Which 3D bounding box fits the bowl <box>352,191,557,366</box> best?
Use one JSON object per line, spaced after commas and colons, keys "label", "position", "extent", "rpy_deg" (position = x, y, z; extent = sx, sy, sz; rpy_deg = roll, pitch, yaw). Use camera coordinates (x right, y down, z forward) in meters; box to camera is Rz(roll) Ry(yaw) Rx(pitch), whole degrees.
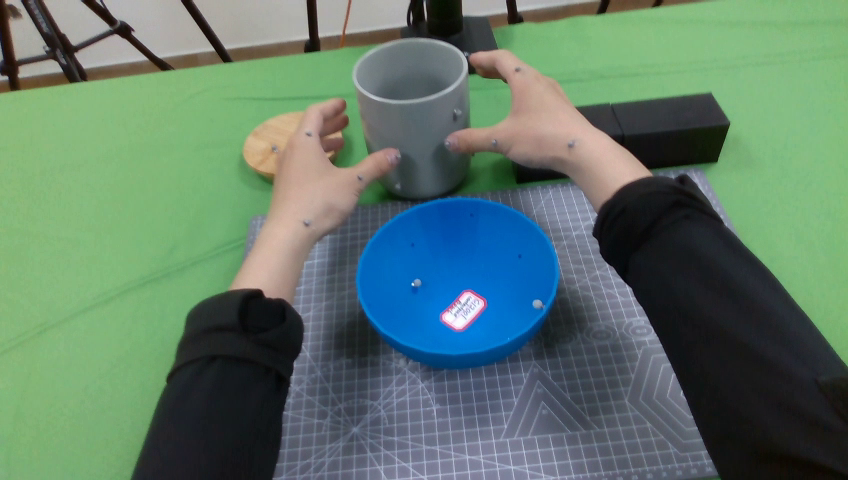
{"label": "bowl", "position": [0.025, 0.041, 0.472], "extent": [0.151, 0.077, 0.150], "rpy_deg": [-4, 49, 5]}

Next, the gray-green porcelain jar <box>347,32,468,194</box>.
{"label": "gray-green porcelain jar", "position": [-0.011, -0.117, 0.585], "extent": [0.106, 0.128, 0.105], "rpy_deg": [-3, 48, 4]}

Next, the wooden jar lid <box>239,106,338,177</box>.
{"label": "wooden jar lid", "position": [-0.147, -0.107, 0.664], "extent": [0.108, 0.021, 0.107], "rpy_deg": [-2, 49, 3]}
